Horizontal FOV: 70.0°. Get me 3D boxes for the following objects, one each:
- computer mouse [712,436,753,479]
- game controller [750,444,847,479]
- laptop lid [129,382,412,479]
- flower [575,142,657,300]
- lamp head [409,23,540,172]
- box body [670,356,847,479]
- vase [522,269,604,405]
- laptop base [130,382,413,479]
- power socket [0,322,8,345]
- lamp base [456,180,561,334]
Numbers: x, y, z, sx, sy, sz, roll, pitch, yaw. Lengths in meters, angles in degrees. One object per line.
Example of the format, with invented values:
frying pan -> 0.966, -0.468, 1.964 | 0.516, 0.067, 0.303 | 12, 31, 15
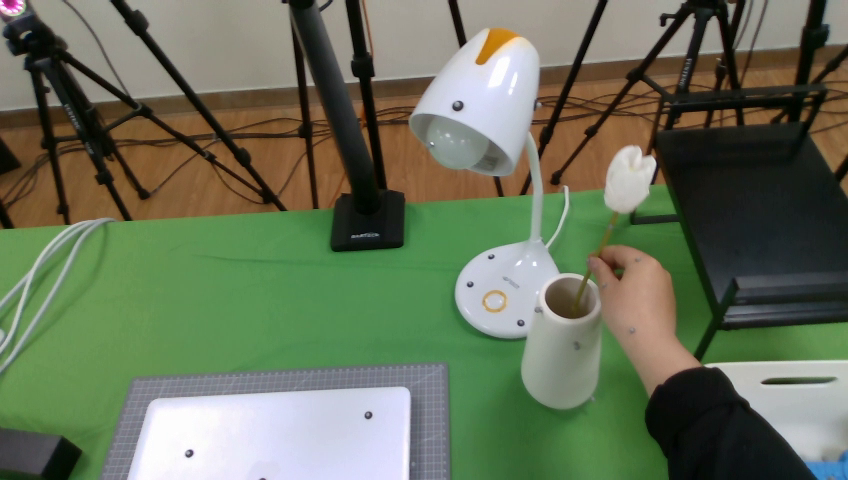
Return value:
computer mouse -> 0.336, 0.274, 0.685 | 0.063, 0.041, 0.116 | -5, 41, 5
game controller -> 0.444, 0.276, 0.671 | 0.155, 0.052, 0.096 | 0, 49, 4
laptop lid -> -0.191, 0.289, 0.737 | 0.356, 0.013, 0.239 | -2, 53, 5
flower -> 0.176, 0.046, 0.665 | 0.038, 0.365, 0.043 | 2, 47, -4
lamp head -> 0.061, -0.140, 0.582 | 0.111, 0.113, 0.122 | 22, 74, 22
box body -> 0.405, 0.310, 0.578 | 0.254, 0.162, 0.360 | -2, 51, 5
vase -> 0.169, 0.120, 0.735 | 0.098, 0.202, 0.097 | -4, 50, 5
laptop base -> -0.190, 0.293, 0.747 | 0.354, 0.023, 0.233 | -3, 55, 4
power socket -> -0.685, 0.203, 0.865 | 0.072, 0.033, 0.224 | 4, 51, 8
lamp base -> 0.127, 0.011, 0.840 | 0.159, 0.182, 0.178 | 25, 55, 24
